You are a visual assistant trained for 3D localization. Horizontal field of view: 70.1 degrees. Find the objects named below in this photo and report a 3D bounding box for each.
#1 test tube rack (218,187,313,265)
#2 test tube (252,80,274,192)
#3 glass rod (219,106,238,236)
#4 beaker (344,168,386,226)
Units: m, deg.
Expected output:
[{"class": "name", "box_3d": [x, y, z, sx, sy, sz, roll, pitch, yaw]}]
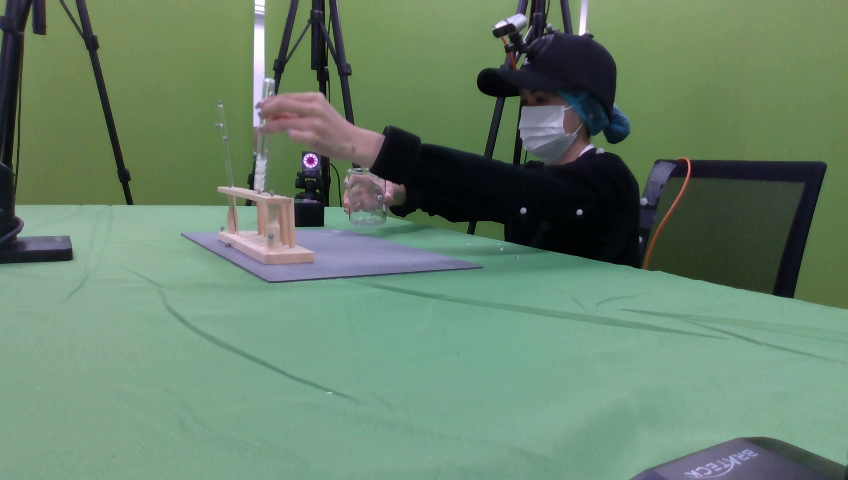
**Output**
[{"class": "test tube rack", "box_3d": [-0.235, -0.027, 0.872, 0.067, 0.085, 0.241, -2, 8, -32]}, {"class": "test tube", "box_3d": [-0.217, -0.139, 0.816, 0.017, 0.150, 0.017, 7, 6, 0]}, {"class": "glass rod", "box_3d": [-0.294, -0.100, 0.907, 0.008, 0.199, 0.008, -3, 12, 1]}, {"class": "beaker", "box_3d": [-0.104, -0.078, 1.103, 0.074, 0.100, 0.083, -8, 15, -30]}]
